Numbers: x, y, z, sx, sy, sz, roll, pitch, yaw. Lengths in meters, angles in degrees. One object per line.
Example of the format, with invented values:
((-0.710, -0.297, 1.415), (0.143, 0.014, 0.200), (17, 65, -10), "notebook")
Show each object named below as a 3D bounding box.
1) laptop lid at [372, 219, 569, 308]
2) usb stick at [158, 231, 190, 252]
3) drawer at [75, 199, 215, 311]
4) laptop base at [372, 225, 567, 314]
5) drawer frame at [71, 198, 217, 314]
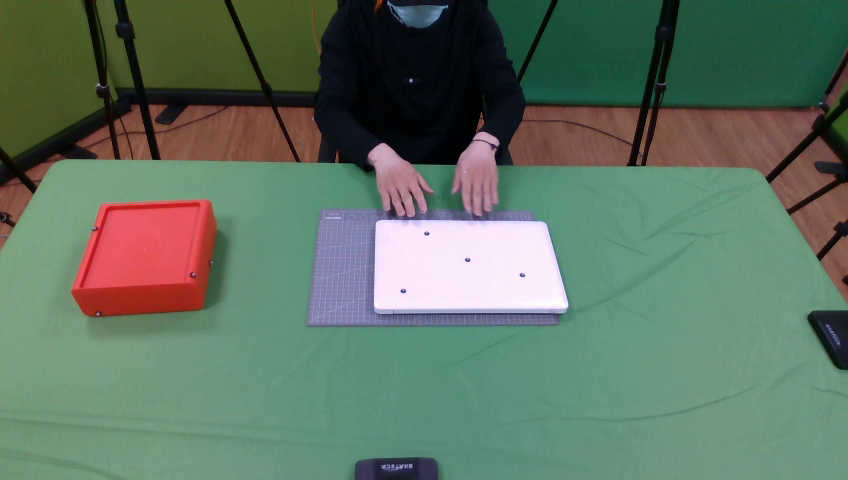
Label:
((0.081, 0.039, 1.152), (0.357, 0.013, 0.240), (2, 44, -3), "laptop lid")
((-0.475, 0.001, 1.144), (0.059, 0.027, 0.021), (13, 42, 9), "usb stick")
((-0.494, 0.023, 1.097), (0.195, 0.073, 0.210), (-2, 47, -8), "drawer")
((0.080, 0.049, 1.159), (0.355, 0.023, 0.234), (0, 43, -4), "laptop base")
((-0.493, 0.024, 1.095), (0.202, 0.083, 0.212), (-3, 47, -8), "drawer frame")
